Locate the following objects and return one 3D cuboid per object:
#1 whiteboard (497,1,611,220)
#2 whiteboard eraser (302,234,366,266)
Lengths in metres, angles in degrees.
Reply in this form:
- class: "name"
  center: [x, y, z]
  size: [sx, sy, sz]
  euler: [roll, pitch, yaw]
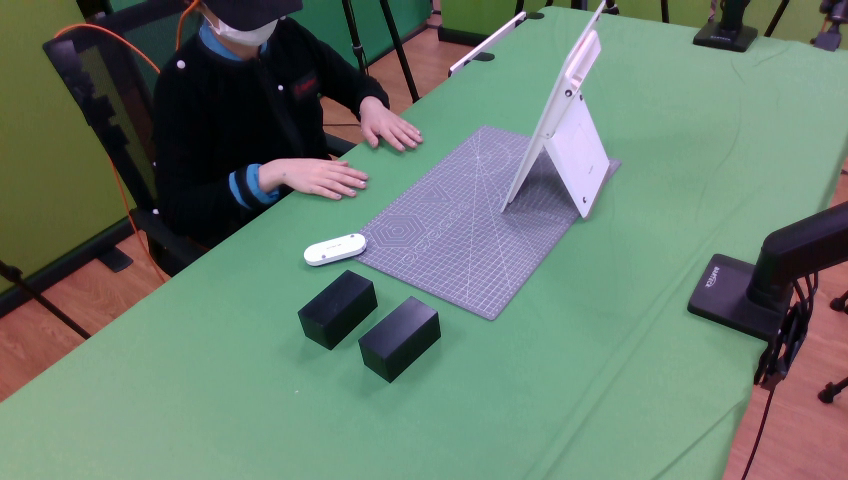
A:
- class: "whiteboard"
  center: [0.259, -0.177, 0.963]
  size: [0.143, 0.306, 0.217]
  euler: [28, 48, 9]
- class: "whiteboard eraser"
  center: [-0.144, 0.015, 0.970]
  size: [0.101, 0.019, 0.041]
  euler: [-14, 43, -6]
